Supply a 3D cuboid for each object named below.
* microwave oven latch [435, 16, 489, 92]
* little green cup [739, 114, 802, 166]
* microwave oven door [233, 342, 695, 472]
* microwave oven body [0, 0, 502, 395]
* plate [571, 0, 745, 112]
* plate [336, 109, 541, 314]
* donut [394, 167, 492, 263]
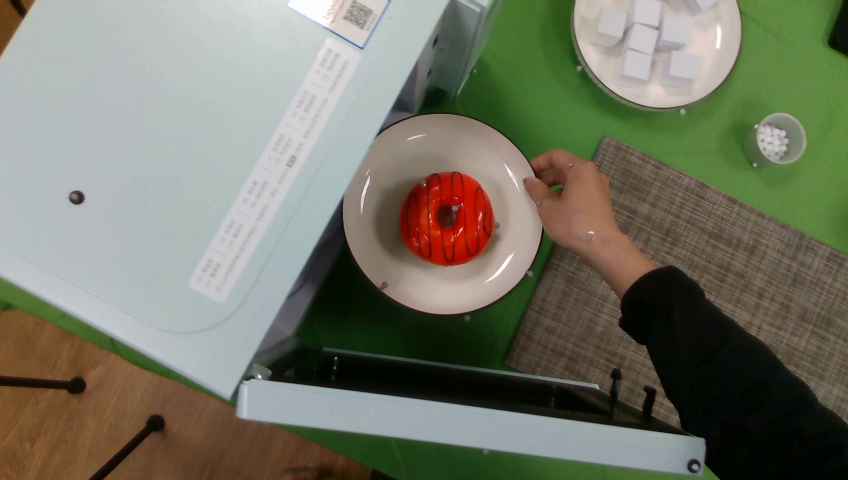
[{"bbox_3d":[0.043,-0.210,0.691,0.030,0.029,0.079,33,86,-2],"label":"microwave oven latch"},{"bbox_3d":[0.417,-0.119,0.733,0.061,0.038,0.061,0,86,-4],"label":"little green cup"},{"bbox_3d":[0.027,0.148,0.569,0.356,0.244,0.039,8,84,-4],"label":"microwave oven door"},{"bbox_3d":[-0.165,-0.133,0.575,0.326,0.260,0.441,29,86,-2],"label":"microwave oven body"},{"bbox_3d":[0.277,-0.254,0.730,0.208,0.039,0.207,0,87,-4],"label":"plate"},{"bbox_3d":[0.015,-0.029,0.622,0.209,0.038,0.208,1,84,-7],"label":"plate"},{"bbox_3d":[0.019,-0.025,0.612,0.099,0.048,0.099,0,92,-1],"label":"donut"}]
